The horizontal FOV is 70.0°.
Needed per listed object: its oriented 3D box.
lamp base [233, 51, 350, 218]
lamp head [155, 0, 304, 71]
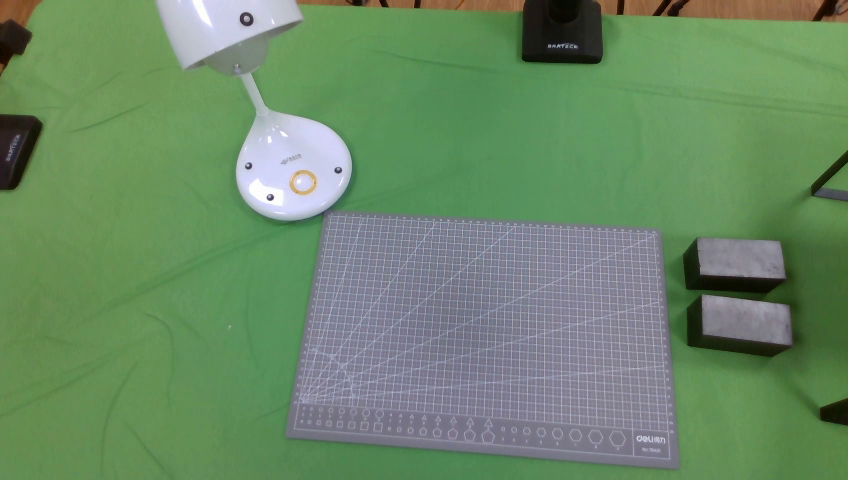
[{"bbox_3d":[-0.194,-0.143,0.779,0.160,0.182,0.177,-35,66,-13],"label":"lamp base"},{"bbox_3d":[-0.174,-0.215,0.499,0.112,0.112,0.123,-27,104,-9],"label":"lamp head"}]
